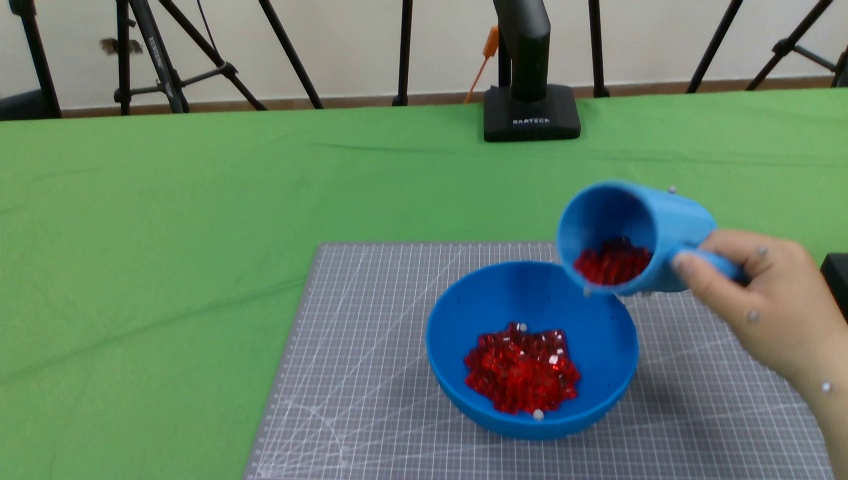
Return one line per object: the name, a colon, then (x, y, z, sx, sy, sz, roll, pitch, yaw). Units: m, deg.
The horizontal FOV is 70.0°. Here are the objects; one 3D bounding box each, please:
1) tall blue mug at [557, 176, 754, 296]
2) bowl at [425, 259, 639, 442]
tall blue mug: (0.170, -0.002, 0.432, 0.107, 0.077, 0.109, -14, -14, 42)
bowl: (0.078, 0.094, 0.456, 0.151, 0.077, 0.150, -3, 42, 3)
